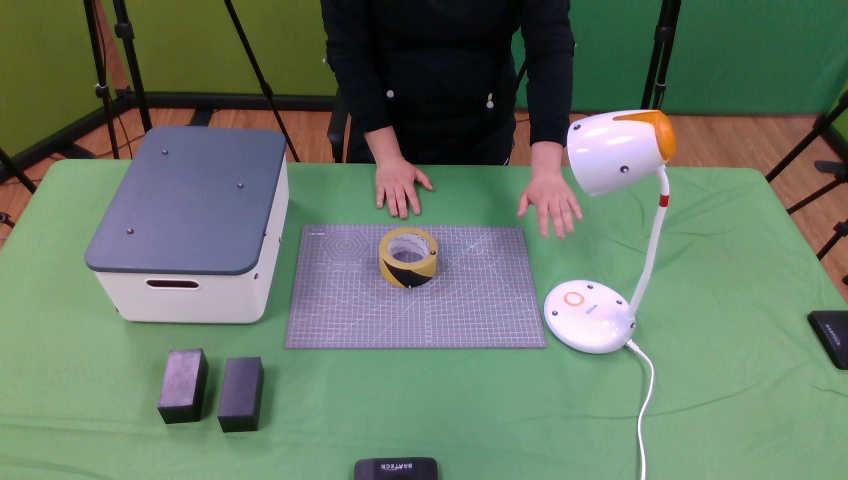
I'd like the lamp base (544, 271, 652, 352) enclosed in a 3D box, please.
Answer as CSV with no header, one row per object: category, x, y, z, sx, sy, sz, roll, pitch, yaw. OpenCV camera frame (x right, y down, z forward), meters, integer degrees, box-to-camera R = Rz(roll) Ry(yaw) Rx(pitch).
lamp base,0.310,0.086,1.029,0.178,0.181,0.160,32,52,21

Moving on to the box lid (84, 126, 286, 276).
box lid,-0.393,-0.081,1.046,0.263,0.015,0.369,2,46,-3

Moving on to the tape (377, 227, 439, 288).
tape,-0.031,0.032,1.141,0.117,0.053,0.116,2,46,-2

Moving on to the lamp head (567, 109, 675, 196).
lamp head,0.272,-0.123,0.818,0.122,0.113,0.112,-9,35,37

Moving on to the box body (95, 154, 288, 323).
box body,-0.396,-0.031,1.100,0.254,0.161,0.361,1,46,-3
